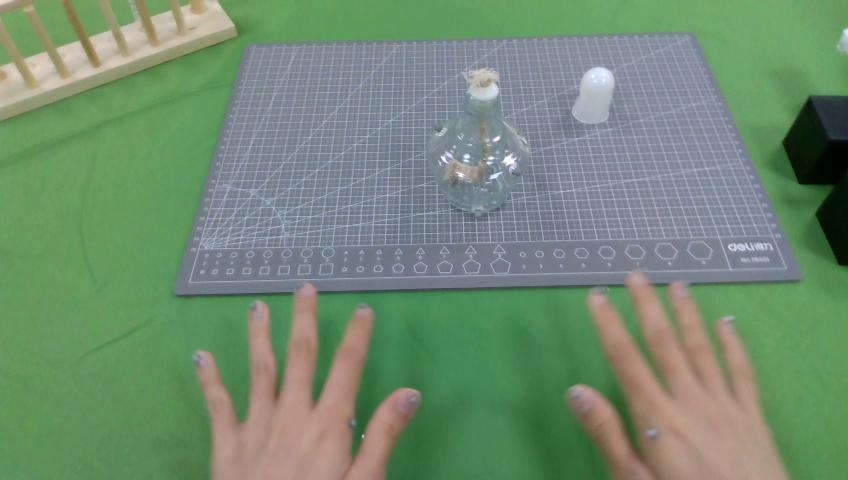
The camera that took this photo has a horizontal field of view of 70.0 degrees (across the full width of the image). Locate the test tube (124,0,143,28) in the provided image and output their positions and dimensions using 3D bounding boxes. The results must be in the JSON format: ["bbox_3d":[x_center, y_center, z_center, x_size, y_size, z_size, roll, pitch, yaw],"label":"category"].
[{"bbox_3d":[-0.288,-0.269,0.556,0.017,0.152,0.017,-4,44,4],"label":"test tube"}]

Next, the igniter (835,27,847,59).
[{"bbox_3d":[0.363,-0.068,0.426,0.057,0.025,0.274,-2,51,4],"label":"igniter"}]

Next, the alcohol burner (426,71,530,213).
[{"bbox_3d":[0.041,-0.075,0.444,0.078,0.120,0.077,0,54,0],"label":"alcohol burner"}]

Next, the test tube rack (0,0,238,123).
[{"bbox_3d":[-0.313,-0.203,0.574,0.242,0.086,0.066,-27,56,-17],"label":"test tube rack"}]

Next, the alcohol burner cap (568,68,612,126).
[{"bbox_3d":[0.146,-0.126,0.524,0.034,0.048,0.033,0,52,0],"label":"alcohol burner cap"}]
